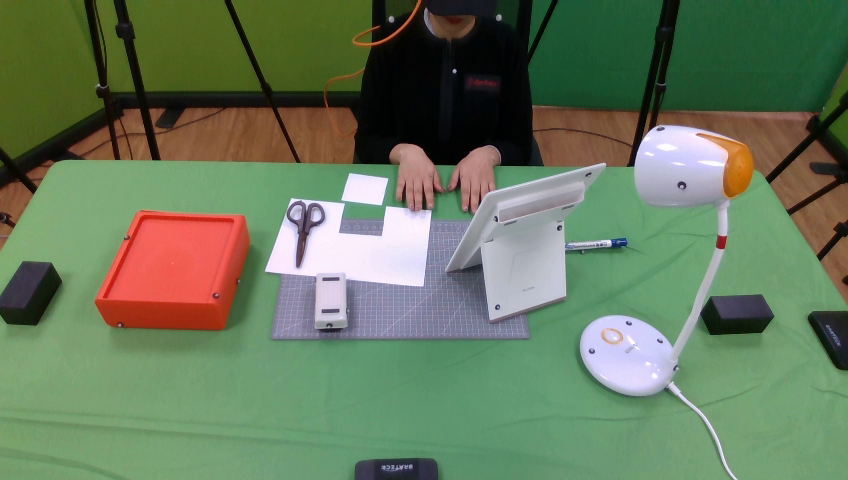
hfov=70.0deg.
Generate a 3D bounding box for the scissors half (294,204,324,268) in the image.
[{"bbox_3d":[-0.231,-0.010,1.196,0.040,0.013,0.174,19,45,-7],"label":"scissors half"}]

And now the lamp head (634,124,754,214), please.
[{"bbox_3d":[0.351,-0.089,0.776,0.112,0.113,0.122,-30,30,-28],"label":"lamp head"}]

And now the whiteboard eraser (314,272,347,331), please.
[{"bbox_3d":[-0.165,0.107,1.063,0.055,0.042,0.112,-4,46,-5],"label":"whiteboard eraser"}]

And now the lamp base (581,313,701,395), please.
[{"bbox_3d":[0.361,0.144,0.973,0.178,0.181,0.160,34,53,23],"label":"lamp base"}]

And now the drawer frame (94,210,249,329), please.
[{"bbox_3d":[-0.434,0.048,1.076,0.202,0.083,0.212,2,47,-3],"label":"drawer frame"}]

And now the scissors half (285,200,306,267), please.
[{"bbox_3d":[-0.251,-0.014,1.192,0.040,0.013,0.174,1,49,-16],"label":"scissors half"}]

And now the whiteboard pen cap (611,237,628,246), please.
[{"bbox_3d":[0.390,0.004,1.215,0.033,0.018,0.018,-7,47,-2],"label":"whiteboard pen cap"}]

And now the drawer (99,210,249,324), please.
[{"bbox_3d":[-0.435,0.044,1.082,0.194,0.073,0.210,3,47,-2],"label":"drawer"}]

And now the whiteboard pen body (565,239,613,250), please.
[{"bbox_3d":[0.331,0.008,1.211,0.141,0.017,0.017,-5,47,-4],"label":"whiteboard pen body"}]

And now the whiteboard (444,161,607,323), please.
[{"bbox_3d":[0.186,0.025,1.029,0.217,0.306,0.143,-14,68,-18],"label":"whiteboard"}]
